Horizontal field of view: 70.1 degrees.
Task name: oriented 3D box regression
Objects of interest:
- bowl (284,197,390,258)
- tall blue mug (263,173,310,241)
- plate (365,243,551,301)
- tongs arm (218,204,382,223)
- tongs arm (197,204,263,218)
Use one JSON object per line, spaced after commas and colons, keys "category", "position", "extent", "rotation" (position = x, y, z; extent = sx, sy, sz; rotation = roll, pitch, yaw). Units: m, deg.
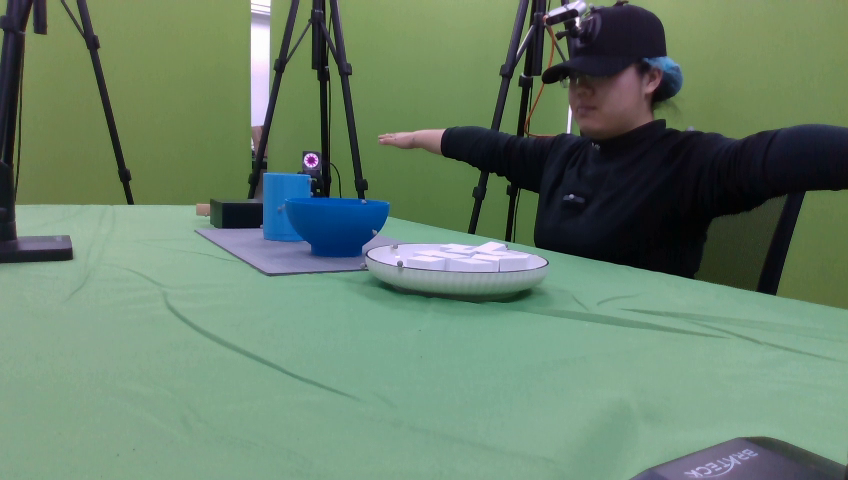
{"category": "bowl", "position": [-0.125, -0.019, 0.870], "extent": [0.151, 0.077, 0.151], "rotation": [2, 7, 0]}
{"category": "tall blue mug", "position": [-0.233, -0.058, 1.019], "extent": [0.078, 0.108, 0.107], "rotation": [-1, 8, -19]}
{"category": "plate", "position": [0.038, 0.035, 0.685], "extent": [0.209, 0.038, 0.209], "rotation": [2, 7, 0]}
{"category": "tongs arm", "position": [-0.285, -0.061, 1.382], "extent": [0.387, 0.027, 0.028], "rotation": [3, -2, 6]}
{"category": "tongs arm", "position": [-0.282, -0.057, 1.301], "extent": [0.386, 0.026, 0.050], "rotation": [2, 1, -7]}
